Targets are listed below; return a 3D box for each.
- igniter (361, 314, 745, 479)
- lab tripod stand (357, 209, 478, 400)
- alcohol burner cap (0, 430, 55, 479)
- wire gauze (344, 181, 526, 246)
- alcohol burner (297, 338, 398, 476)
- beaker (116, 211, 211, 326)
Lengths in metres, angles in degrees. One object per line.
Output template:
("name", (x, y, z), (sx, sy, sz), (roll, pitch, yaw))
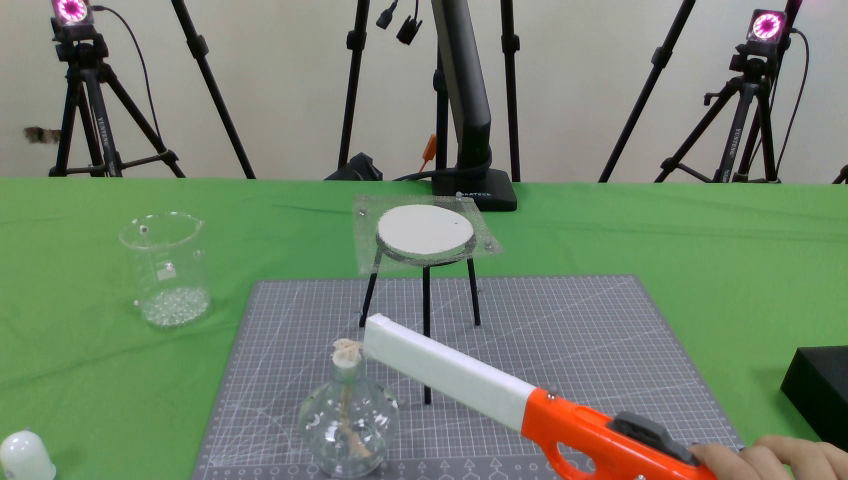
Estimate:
("igniter", (0.071, 0.107, 0.357), (0.274, 0.057, 0.025), (20, 23, 31))
("lab tripod stand", (0.000, 0.051, 0.565), (0.148, 0.132, 0.147), (3, 32, -2))
("alcohol burner cap", (-0.300, 0.164, 0.451), (0.034, 0.048, 0.033), (3, 29, -1))
("wire gauze", (0.007, -0.023, 0.526), (0.125, 0.011, 0.120), (-8, 27, -29))
("alcohol burner", (-0.058, 0.122, 0.462), (0.078, 0.120, 0.077), (3, 30, -2))
("beaker", (-0.260, 0.030, 0.622), (0.084, 0.101, 0.073), (-25, 41, -38))
